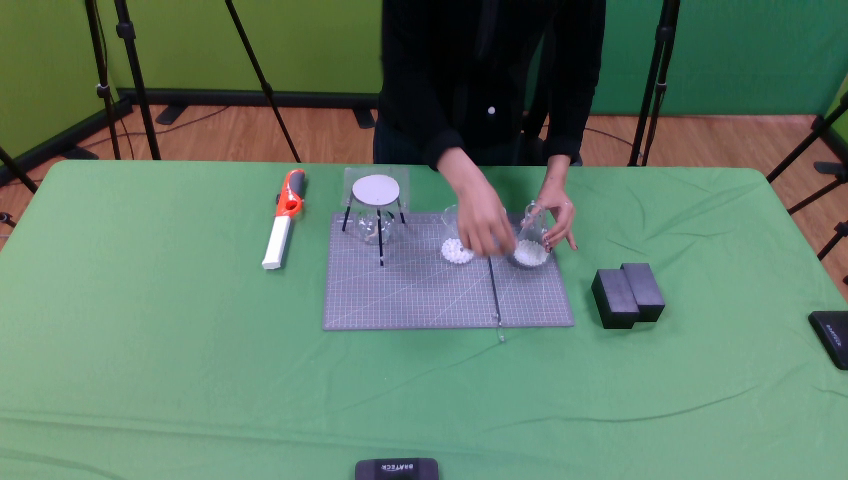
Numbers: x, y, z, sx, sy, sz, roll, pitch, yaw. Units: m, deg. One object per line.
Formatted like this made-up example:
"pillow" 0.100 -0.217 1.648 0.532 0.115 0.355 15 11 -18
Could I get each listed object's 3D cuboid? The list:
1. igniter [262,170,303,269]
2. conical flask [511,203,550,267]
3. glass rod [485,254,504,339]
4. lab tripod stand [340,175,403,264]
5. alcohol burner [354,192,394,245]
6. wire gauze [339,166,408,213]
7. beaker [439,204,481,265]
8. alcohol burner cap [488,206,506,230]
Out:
"igniter" -0.283 -0.050 1.222 0.057 0.025 0.275 -5 45 6
"conical flask" 0.205 -0.012 1.144 0.075 0.122 0.075 -1 44 2
"glass rod" 0.129 0.100 1.119 0.008 0.008 0.198 -1 46 -4
"lab tripod stand" -0.094 -0.050 1.160 0.148 0.132 0.147 2 44 -2
"alcohol burner" -0.096 -0.048 1.171 0.078 0.119 0.077 4 45 -4
"wire gauze" -0.091 -0.096 1.110 0.125 0.011 0.120 2 45 -3
"beaker" 0.066 -0.006 1.154 0.074 0.101 0.083 8 47 4
"alcohol burner cap" 0.152 -0.047 1.241 0.034 0.048 0.033 3 44 -2
